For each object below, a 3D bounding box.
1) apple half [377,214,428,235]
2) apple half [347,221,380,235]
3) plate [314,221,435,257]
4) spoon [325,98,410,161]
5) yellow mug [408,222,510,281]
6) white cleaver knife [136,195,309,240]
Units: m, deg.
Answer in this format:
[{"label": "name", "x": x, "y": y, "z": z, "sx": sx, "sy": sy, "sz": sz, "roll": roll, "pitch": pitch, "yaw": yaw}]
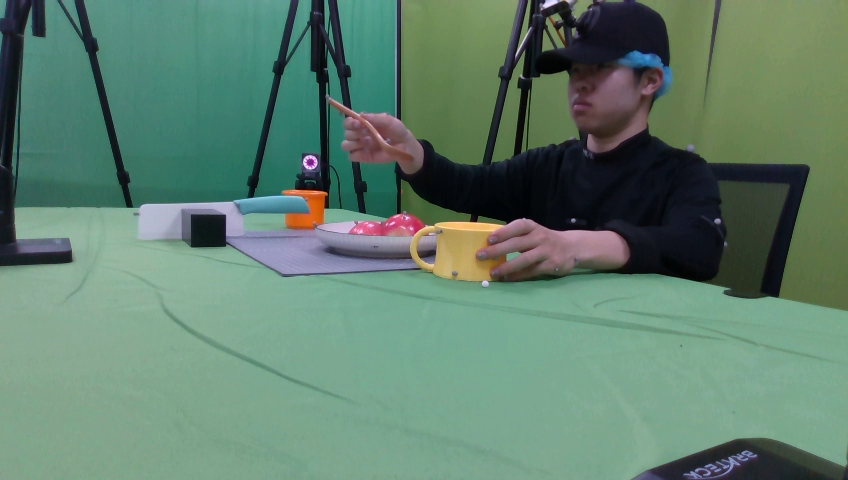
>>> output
[{"label": "apple half", "x": -0.034, "y": -0.013, "z": 0.924, "sx": 0.080, "sy": 0.053, "sz": 0.075, "roll": 5, "pitch": 10, "yaw": 16}, {"label": "apple half", "x": -0.089, "y": -0.014, "z": 0.985, "sx": 0.081, "sy": 0.033, "sz": 0.081, "roll": 5, "pitch": 5, "yaw": 0}, {"label": "plate", "x": -0.067, "y": -0.002, "z": 0.948, "sx": 0.209, "sy": 0.038, "sz": 0.209, "roll": 3, "pitch": 7, "yaw": 0}, {"label": "spoon", "x": -0.090, "y": -0.172, "z": 0.927, "sx": 0.193, "sy": 0.021, "sz": 0.042, "roll": 43, "pitch": 3, "yaw": 29}, {"label": "yellow mug", "x": 0.044, "y": 0.012, "z": 0.784, "sx": 0.131, "sy": 0.064, "sz": 0.100, "roll": 2, "pitch": 6, "yaw": 4}, {"label": "white cleaver knife", "x": -0.337, "y": -0.039, "z": 1.037, "sx": 0.288, "sy": 0.066, "sz": 0.021, "roll": -6, "pitch": 15, "yaw": -29}]
